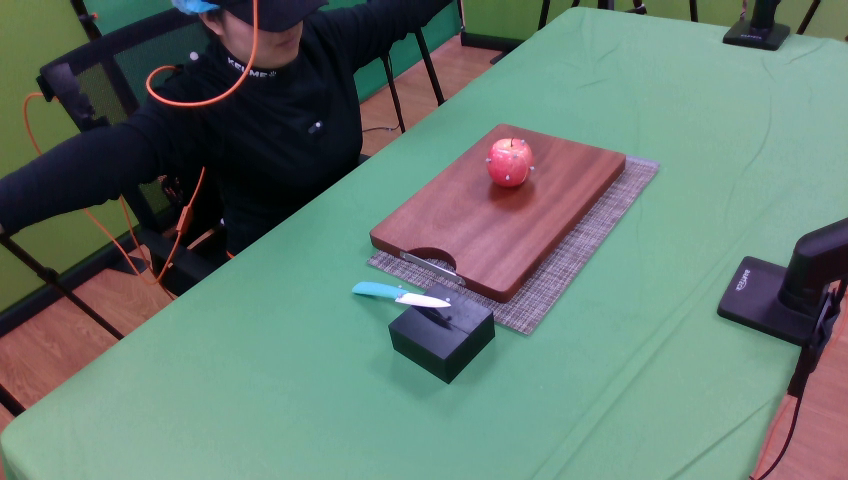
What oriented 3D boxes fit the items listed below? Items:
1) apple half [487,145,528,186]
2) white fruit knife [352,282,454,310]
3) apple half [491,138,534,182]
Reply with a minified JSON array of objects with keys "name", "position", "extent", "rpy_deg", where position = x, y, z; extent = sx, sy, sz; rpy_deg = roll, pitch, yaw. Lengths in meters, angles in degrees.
[{"name":"apple half","position":[0.134,-0.118,1.014],"extent":[0.080,0.081,0.033],"rpy_deg":[18,44,29]},{"name":"white fruit knife","position":[-0.031,0.079,0.856],"extent":[0.205,0.016,0.027],"rpy_deg":[6,38,47]},{"name":"apple half","position":[0.156,-0.139,1.038],"extent":[0.080,0.075,0.053],"rpy_deg":[16,42,32]}]
